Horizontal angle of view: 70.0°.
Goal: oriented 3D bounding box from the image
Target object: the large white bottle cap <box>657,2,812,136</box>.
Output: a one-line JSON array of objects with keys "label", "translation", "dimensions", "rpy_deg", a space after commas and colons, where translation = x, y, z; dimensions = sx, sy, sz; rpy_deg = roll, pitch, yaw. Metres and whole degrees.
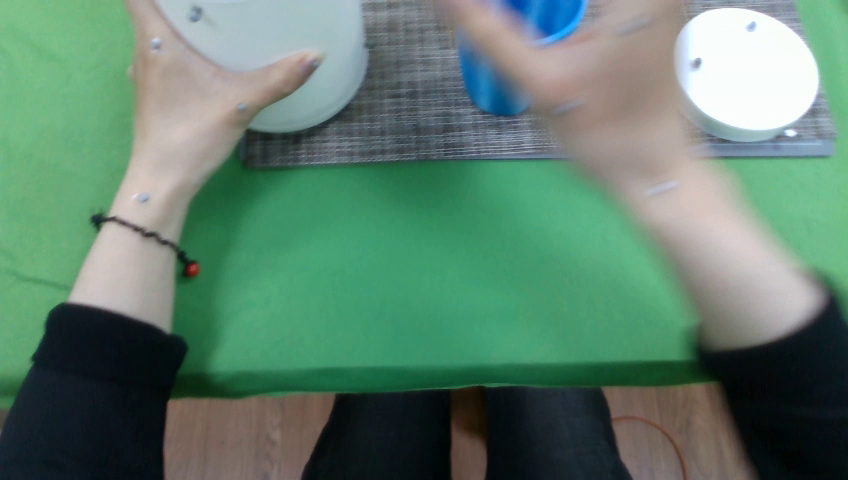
[{"label": "large white bottle cap", "translation": [0.242, -0.135, 0.473], "dimensions": [0.115, 0.018, 0.114], "rpy_deg": [1, 70, -1]}]

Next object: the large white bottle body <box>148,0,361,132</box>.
[{"label": "large white bottle body", "translation": [-0.112, -0.171, 0.391], "dimensions": [0.131, 0.186, 0.129], "rpy_deg": [1, 69, -1]}]

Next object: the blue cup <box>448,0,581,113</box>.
[{"label": "blue cup", "translation": [0.058, -0.142, 0.428], "dimensions": [0.092, 0.101, 0.092], "rpy_deg": [0, 69, 1]}]
